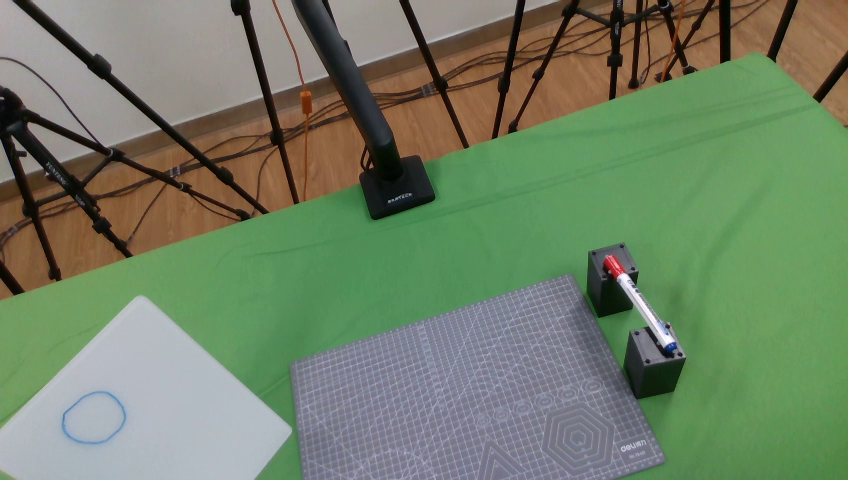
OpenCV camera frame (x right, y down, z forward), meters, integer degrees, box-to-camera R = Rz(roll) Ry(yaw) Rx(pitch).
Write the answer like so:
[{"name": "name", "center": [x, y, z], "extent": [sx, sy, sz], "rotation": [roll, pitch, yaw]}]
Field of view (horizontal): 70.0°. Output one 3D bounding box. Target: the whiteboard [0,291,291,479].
[{"name": "whiteboard", "center": [-0.360, 0.224, 0.766], "extent": [0.142, 0.309, 0.216], "rotation": [14, 56, 45]}]

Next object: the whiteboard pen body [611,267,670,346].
[{"name": "whiteboard pen body", "center": [0.264, 0.072, 0.760], "extent": [0.017, 0.017, 0.139], "rotation": [-22, 53, -4]}]

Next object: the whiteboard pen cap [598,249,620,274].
[{"name": "whiteboard pen cap", "center": [0.243, 0.029, 0.795], "extent": [0.017, 0.017, 0.032], "rotation": [-22, 54, -4]}]
